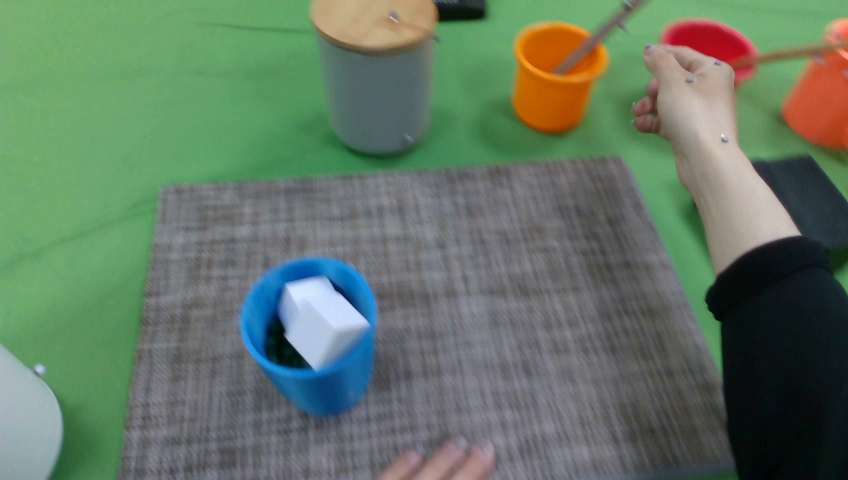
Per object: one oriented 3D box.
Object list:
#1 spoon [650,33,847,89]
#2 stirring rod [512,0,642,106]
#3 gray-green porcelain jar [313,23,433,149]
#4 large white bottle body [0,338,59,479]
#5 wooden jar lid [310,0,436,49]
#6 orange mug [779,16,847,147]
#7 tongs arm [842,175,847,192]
[{"bbox_3d":[0.316,-0.178,0.602,0.041,0.022,0.192,-45,24,-29],"label":"spoon"},{"bbox_3d":[0.159,-0.197,0.611,0.176,0.006,0.014,-39,59,21],"label":"stirring rod"},{"bbox_3d":[-0.047,-0.160,0.579,0.106,0.127,0.105,1,54,-2],"label":"gray-green porcelain jar"},{"bbox_3d":[-0.316,0.090,0.346,0.131,0.186,0.129,2,54,-2],"label":"large white bottle body"},{"bbox_3d":[-0.044,-0.196,0.528,0.108,0.021,0.107,2,51,-2],"label":"wooden jar lid"},{"bbox_3d":[0.440,-0.153,0.619,0.083,0.101,0.125,-6,51,-7],"label":"orange mug"},{"bbox_3d":[0.457,0.091,0.484,0.051,0.027,0.381,-1,55,-11],"label":"tongs arm"}]
